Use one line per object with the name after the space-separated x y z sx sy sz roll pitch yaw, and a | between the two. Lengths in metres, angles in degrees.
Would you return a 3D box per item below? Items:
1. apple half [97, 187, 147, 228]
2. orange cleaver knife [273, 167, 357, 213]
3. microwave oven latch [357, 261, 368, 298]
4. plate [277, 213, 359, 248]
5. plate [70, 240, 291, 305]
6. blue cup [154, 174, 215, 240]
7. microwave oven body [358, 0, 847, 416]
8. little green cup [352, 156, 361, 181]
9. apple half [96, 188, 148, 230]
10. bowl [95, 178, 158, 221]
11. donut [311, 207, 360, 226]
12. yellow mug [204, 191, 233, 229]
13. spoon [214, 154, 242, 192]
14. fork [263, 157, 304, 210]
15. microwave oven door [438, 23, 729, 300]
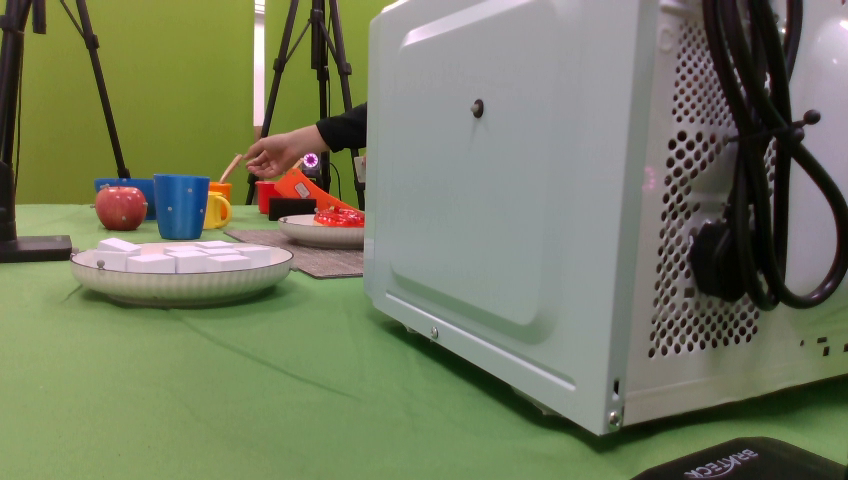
-0.534 -0.059 1.071 0.082 0.081 0.032 -1 11 -25 | apple half
-0.238 -0.091 1.381 0.212 0.077 0.012 31 0 -19 | orange cleaver knife
-0.019 0.033 0.529 0.079 0.029 0.030 0 7 -25 | microwave oven latch
-0.135 -0.017 0.992 0.209 0.038 0.209 3 8 0 | plate
-0.242 0.031 0.618 0.208 0.039 0.207 2 8 0 | plate
-0.391 -0.053 0.978 0.093 0.100 0.092 4 6 0 | blue cup
0.211 -0.047 0.474 0.444 0.260 0.324 -1 7 -28 | microwave oven body
-0.078 -0.113 0.928 0.061 0.038 0.061 -8 9 2 | little green cup
-0.517 -0.052 1.036 0.081 0.074 0.053 3 10 -26 | apple half
-0.576 -0.081 1.217 0.151 0.077 0.151 3 8 0 | bowl
-0.137 -0.029 0.995 0.099 0.048 0.099 4 8 0 | donut
-0.415 -0.057 1.131 0.130 0.064 0.100 6 7 16 | yellow mug
-0.439 -0.123 1.318 0.041 0.193 0.022 5 -36 17 | spoon
-0.345 -0.143 1.505 0.028 0.019 0.207 -5 45 29 | fork
0.181 -0.072 0.621 0.358 0.243 0.039 -2 8 -29 | microwave oven door
